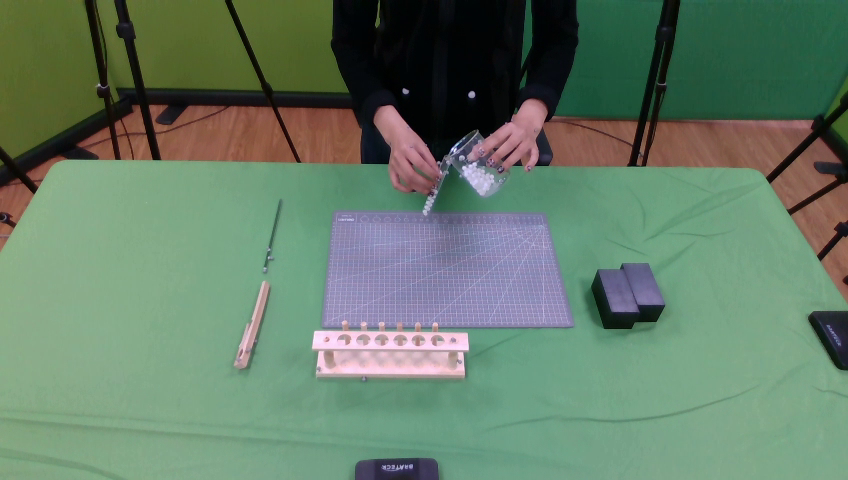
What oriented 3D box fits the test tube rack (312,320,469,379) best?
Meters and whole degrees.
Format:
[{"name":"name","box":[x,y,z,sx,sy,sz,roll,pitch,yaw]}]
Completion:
[{"name":"test tube rack","box":[-0.054,0.173,0.984,0.242,0.085,0.066,1,46,-3]}]

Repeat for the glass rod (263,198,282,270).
[{"name":"glass rod","box":[-0.299,-0.017,1.202,0.008,0.008,0.198,1,46,-2]}]

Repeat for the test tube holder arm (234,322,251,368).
[{"name":"test tube holder arm","box":[-0.299,0.173,1.013,0.010,0.015,0.087,-17,41,22]}]

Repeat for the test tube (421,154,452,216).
[{"name":"test tube","box":[0.022,-0.098,1.118,0.017,0.151,0.017,11,46,-12]}]

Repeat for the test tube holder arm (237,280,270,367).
[{"name":"test tube holder arm","box":[-0.291,0.140,1.042,0.013,0.015,0.177,-17,41,22]}]

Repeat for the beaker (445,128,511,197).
[{"name":"beaker","box":[0.094,-0.130,1.051,0.100,0.084,0.074,48,42,-13]}]
